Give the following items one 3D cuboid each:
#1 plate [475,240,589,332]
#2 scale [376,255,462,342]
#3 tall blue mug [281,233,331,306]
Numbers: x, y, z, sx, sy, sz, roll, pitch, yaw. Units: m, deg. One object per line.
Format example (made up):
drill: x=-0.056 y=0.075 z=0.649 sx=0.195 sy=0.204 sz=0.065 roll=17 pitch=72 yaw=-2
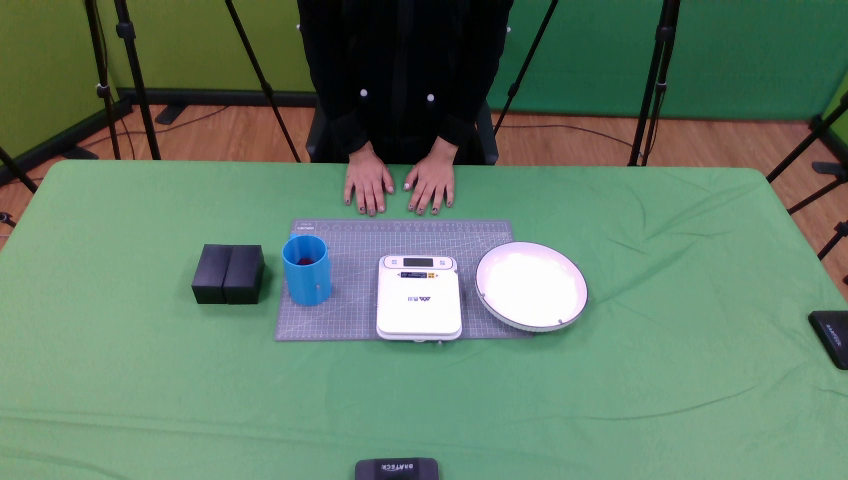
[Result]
plate: x=0.195 y=0.087 z=1.112 sx=0.209 sy=0.038 sz=0.208 roll=3 pitch=46 yaw=-3
scale: x=-0.010 y=0.096 z=1.094 sx=0.149 sy=0.032 sz=0.199 roll=2 pitch=46 yaw=-3
tall blue mug: x=-0.219 y=0.046 z=1.073 sx=0.107 sy=0.108 sz=0.077 roll=28 pitch=52 yaw=21
